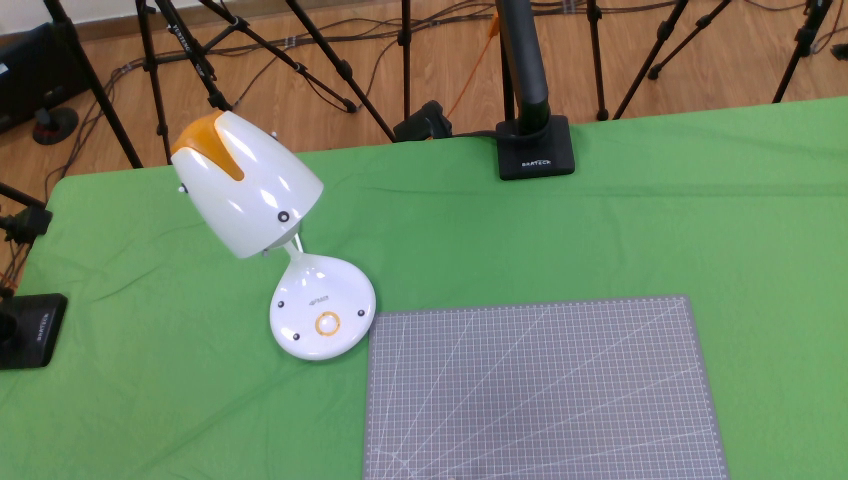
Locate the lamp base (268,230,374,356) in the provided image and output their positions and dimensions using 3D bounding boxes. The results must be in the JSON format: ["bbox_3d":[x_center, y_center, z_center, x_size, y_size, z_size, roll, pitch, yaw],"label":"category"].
[{"bbox_3d":[-0.171,0.049,0.838,0.160,0.182,0.177,-30,58,-8],"label":"lamp base"}]

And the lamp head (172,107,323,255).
[{"bbox_3d":[-0.176,-0.065,0.577,0.112,0.124,0.111,-34,20,15],"label":"lamp head"}]
